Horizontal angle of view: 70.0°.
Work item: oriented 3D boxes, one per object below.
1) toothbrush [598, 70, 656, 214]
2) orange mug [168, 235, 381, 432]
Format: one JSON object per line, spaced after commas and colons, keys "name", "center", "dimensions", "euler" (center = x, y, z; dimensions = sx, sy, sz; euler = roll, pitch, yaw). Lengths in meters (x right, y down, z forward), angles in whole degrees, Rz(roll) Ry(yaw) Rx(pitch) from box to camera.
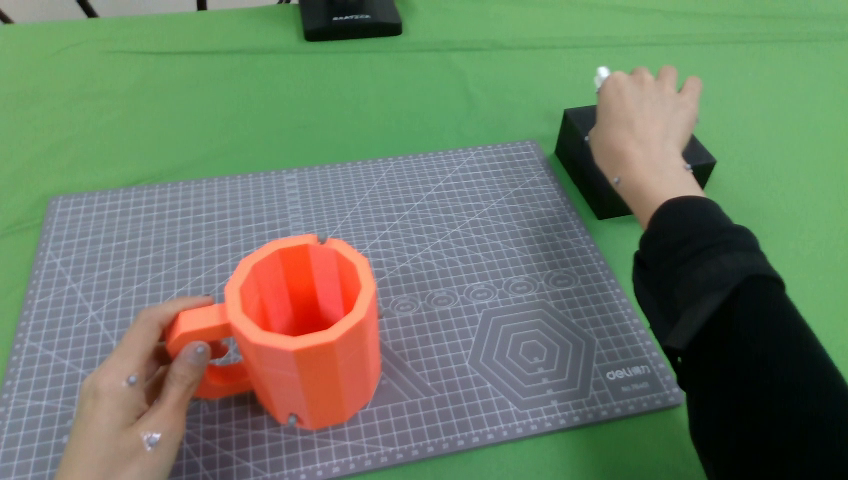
{"name": "toothbrush", "center": [0.176, -0.092, 0.531], "dimensions": [0.014, 0.017, 0.180], "euler": [-2, 50, 1]}
{"name": "orange mug", "center": [-0.089, 0.063, 0.381], "dimensions": [0.126, 0.101, 0.082], "euler": [-8, 48, -16]}
